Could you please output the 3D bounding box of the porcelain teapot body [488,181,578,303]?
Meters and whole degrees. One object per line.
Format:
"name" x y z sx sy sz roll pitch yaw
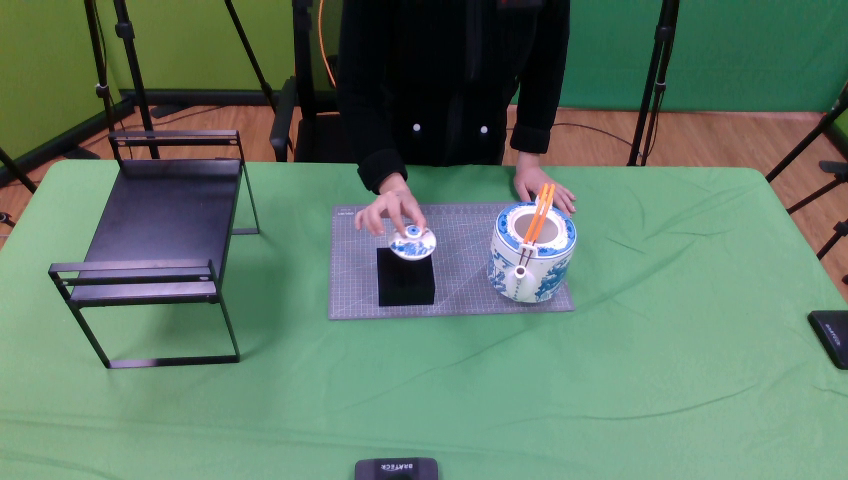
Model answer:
"porcelain teapot body" 0.185 0.018 1.048 0.145 0.226 0.204 15 48 10

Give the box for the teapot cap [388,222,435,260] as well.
"teapot cap" -0.021 -0.002 1.055 0.085 0.044 0.084 4 50 -4
